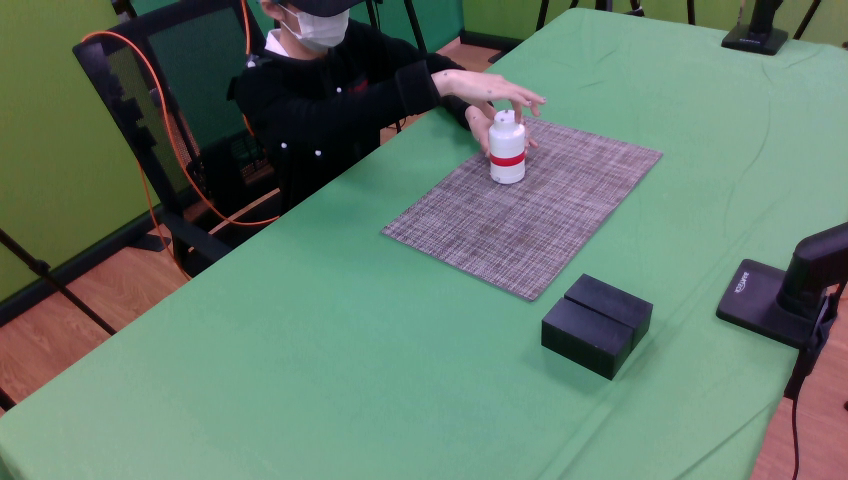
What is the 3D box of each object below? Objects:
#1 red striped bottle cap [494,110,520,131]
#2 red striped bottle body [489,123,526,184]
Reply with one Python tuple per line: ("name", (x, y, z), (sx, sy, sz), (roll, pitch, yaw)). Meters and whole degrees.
("red striped bottle cap", (0.141, -0.204, 1.030), (0.044, 0.018, 0.044), (-7, 40, 7))
("red striped bottle body", (0.147, -0.164, 1.064), (0.063, 0.120, 0.062), (-5, 40, 4))
